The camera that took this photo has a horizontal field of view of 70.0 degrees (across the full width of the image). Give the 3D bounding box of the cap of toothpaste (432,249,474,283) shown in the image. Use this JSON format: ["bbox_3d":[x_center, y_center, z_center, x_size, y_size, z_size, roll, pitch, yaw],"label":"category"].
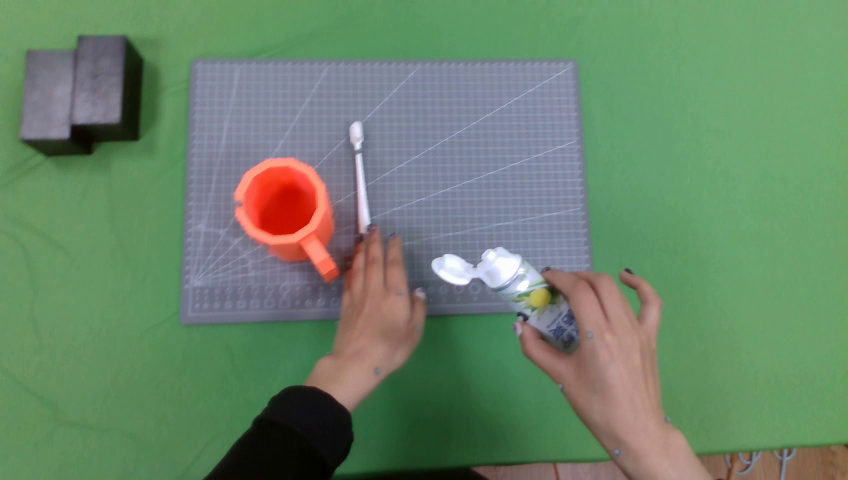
[{"bbox_3d":[0.024,0.020,0.485,0.037,0.037,0.011,26,122,1],"label":"cap of toothpaste"}]

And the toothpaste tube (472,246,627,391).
[{"bbox_3d":[0.102,0.063,0.504,0.166,0.034,0.055,41,95,-18],"label":"toothpaste tube"}]

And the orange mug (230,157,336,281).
[{"bbox_3d":[-0.134,-0.015,0.620,0.083,0.101,0.125,-36,79,-10],"label":"orange mug"}]

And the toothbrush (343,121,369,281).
[{"bbox_3d":[-0.074,-0.045,0.671,0.014,0.016,0.181,-3,81,-20],"label":"toothbrush"}]
